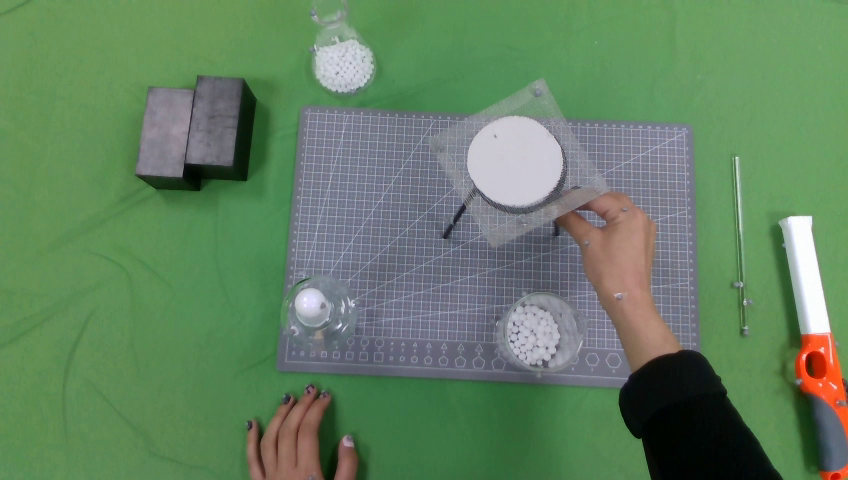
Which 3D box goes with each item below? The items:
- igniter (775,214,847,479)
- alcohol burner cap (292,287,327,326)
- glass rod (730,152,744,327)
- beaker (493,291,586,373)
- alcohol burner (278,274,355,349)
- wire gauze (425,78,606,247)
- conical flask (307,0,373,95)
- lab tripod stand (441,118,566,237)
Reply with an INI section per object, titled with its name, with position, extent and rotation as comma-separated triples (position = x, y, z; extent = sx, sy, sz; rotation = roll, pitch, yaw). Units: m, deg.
[igniter]
position = 0.413, 0.108, 0.643
extent = 0.057, 0.025, 0.275
rotation = -2, 79, -11
[alcohol burner cap]
position = -0.107, 0.059, 0.563
extent = 0.034, 0.048, 0.033
rotation = 2, 71, -7
[glass rod]
position = 0.348, -0.003, 0.672
extent = 0.008, 0.008, 0.199
rotation = 3, 80, 0
[beaker]
position = 0.110, 0.092, 0.604
extent = 0.084, 0.100, 0.073
rotation = -15, 79, -4
[alcohol burner]
position = -0.108, 0.069, 0.598
extent = 0.078, 0.119, 0.077
rotation = 1, 77, -2
[wire gauze]
position = 0.083, -0.070, 0.548
extent = 0.125, 0.011, 0.121
rotation = -28, 81, -6
[conical flask]
position = -0.096, -0.214, 0.651
extent = 0.075, 0.122, 0.075
rotation = 0, 78, 0
[lab tripod stand]
position = 0.082, -0.053, 0.614
extent = 0.148, 0.132, 0.148
rotation = 0, 81, 0
